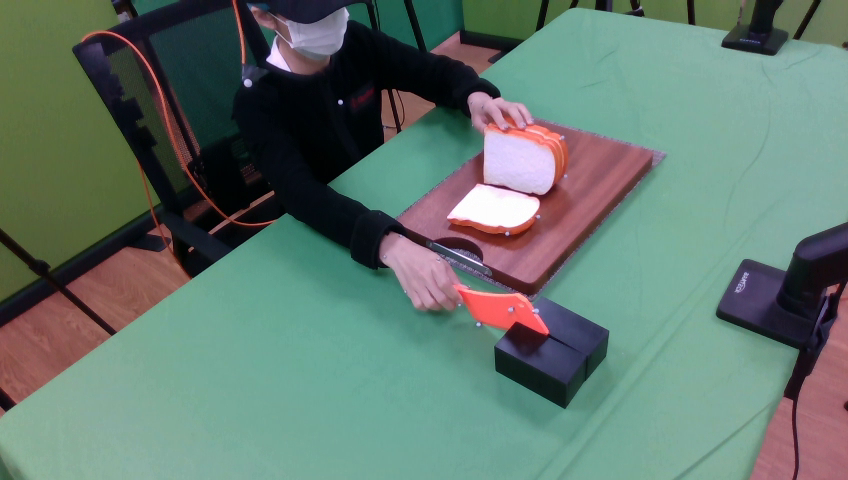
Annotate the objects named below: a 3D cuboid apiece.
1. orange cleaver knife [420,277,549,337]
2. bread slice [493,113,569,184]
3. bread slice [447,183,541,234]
[{"bbox_3d":[0.076,0.089,0.813,0.209,0.077,0.012,9,44,47],"label":"orange cleaver knife"},{"bbox_3d":[0.176,-0.145,1.016,0.133,0.107,0.018,24,47,22],"label":"bread slice"},{"bbox_3d":[0.117,-0.047,0.964,0.130,0.019,0.105,17,44,31],"label":"bread slice"}]
